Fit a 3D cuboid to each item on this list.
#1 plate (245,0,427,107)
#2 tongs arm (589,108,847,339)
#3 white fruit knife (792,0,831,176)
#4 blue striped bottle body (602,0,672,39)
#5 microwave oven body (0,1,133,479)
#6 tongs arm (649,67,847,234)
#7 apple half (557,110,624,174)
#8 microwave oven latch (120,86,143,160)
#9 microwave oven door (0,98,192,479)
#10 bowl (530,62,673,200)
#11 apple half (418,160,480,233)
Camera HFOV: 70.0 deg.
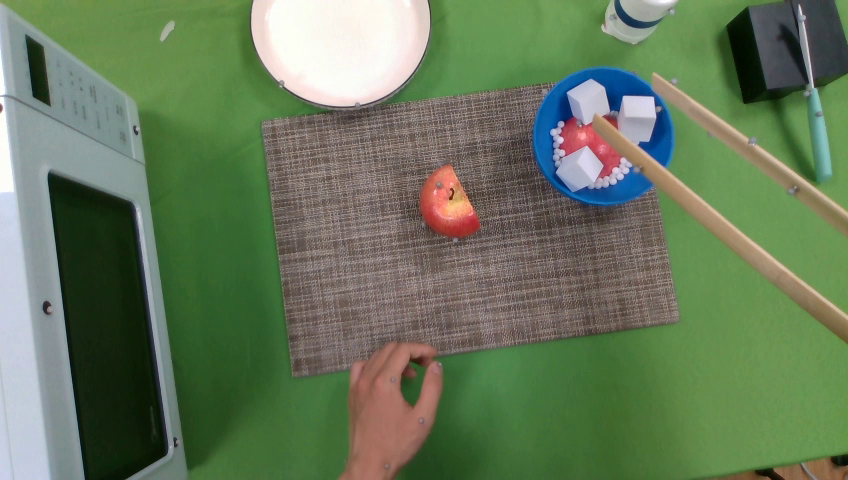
[{"bbox_3d":[-0.101,-0.254,0.710,0.208,0.039,0.207,0,86,-1],"label":"plate"},{"bbox_3d":[0.267,0.004,0.476,0.028,0.028,0.383,-35,58,-11],"label":"tongs arm"},{"bbox_3d":[0.437,-0.171,0.687,0.016,0.027,0.208,-14,103,16],"label":"white fruit knife"},{"bbox_3d":[0.246,-0.279,0.676,0.063,0.121,0.063,0,84,0],"label":"blue striped bottle body"},{"bbox_3d":[-0.451,0.061,0.562,0.326,0.260,0.440,-10,86,-2],"label":"microwave oven body"},{"bbox_3d":[0.303,-0.020,0.480,0.051,0.027,0.380,-35,58,-7],"label":"tongs arm"},{"bbox_3d":[0.189,-0.112,0.674,0.081,0.033,0.081,0,84,0],"label":"apple half"},{"bbox_3d":[-0.336,-0.128,0.676,0.030,0.029,0.079,-10,86,-2],"label":"microwave oven latch"},{"bbox_3d":[-0.300,0.077,0.559,0.039,0.244,0.355,-10,85,-1],"label":"microwave oven door"},{"bbox_3d":[0.188,-0.112,0.679,0.151,0.077,0.151,0,85,-1],"label":"bowl"},{"bbox_3d":[0.022,-0.042,0.673,0.053,0.074,0.081,-28,89,3],"label":"apple half"}]
